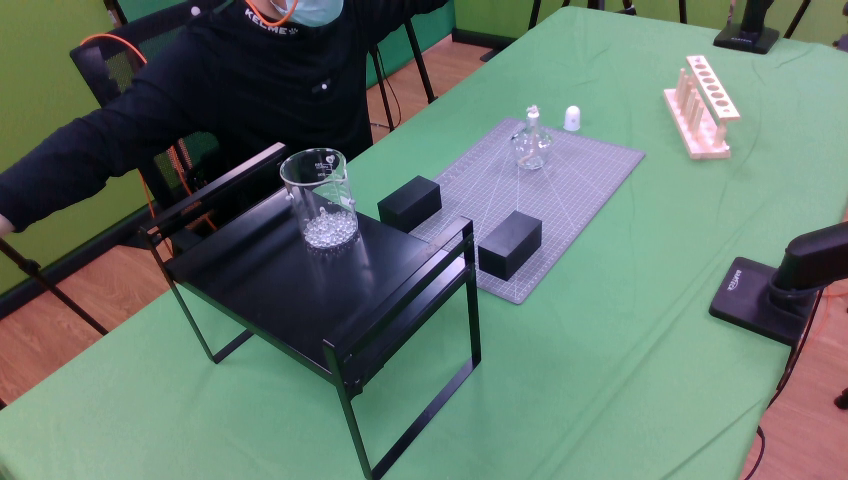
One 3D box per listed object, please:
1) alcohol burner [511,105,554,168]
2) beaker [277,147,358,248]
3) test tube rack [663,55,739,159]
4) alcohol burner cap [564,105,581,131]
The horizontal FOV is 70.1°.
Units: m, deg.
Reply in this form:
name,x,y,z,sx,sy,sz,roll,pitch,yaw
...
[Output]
name,x,y,z,sx,sy,sz,roll,pitch,yaw
alcohol burner,0.195,-0.190,1.088,0.078,0.119,0.077,-3,42,3
beaker,-0.117,-0.046,0.705,0.083,0.101,0.074,17,47,25
test tube rack,0.518,-0.256,1.144,0.066,0.085,0.241,-1,41,8
alcohol burner cap,0.294,-0.243,1.195,0.034,0.048,0.033,-4,40,3
